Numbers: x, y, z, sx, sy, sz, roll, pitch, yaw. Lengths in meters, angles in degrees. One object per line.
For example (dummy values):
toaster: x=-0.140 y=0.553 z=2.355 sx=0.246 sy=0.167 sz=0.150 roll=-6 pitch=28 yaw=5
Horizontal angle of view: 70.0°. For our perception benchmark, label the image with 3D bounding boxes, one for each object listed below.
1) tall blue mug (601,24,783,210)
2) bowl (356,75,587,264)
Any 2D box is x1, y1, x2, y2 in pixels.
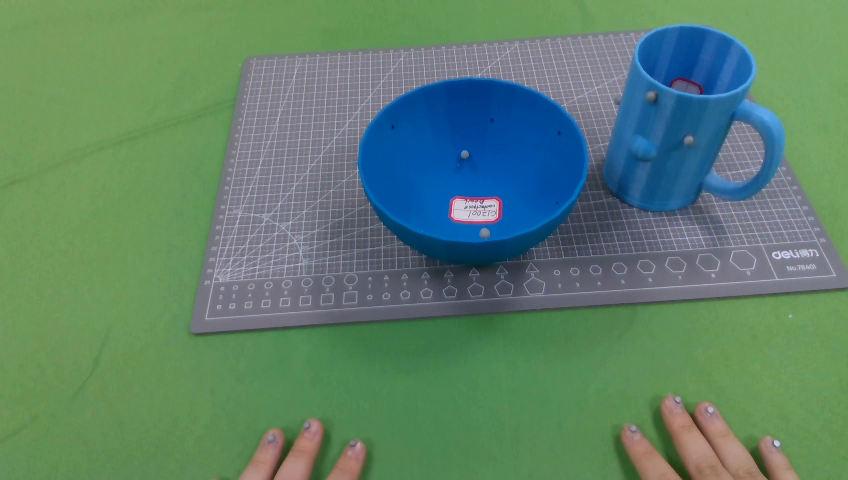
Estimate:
tall blue mug: x=0.189 y=-0.080 z=0.428 sx=0.107 sy=0.109 sz=0.077 roll=12 pitch=54 yaw=12
bowl: x=0.032 y=-0.036 z=0.423 sx=0.151 sy=0.077 sz=0.150 roll=-1 pitch=54 yaw=2
